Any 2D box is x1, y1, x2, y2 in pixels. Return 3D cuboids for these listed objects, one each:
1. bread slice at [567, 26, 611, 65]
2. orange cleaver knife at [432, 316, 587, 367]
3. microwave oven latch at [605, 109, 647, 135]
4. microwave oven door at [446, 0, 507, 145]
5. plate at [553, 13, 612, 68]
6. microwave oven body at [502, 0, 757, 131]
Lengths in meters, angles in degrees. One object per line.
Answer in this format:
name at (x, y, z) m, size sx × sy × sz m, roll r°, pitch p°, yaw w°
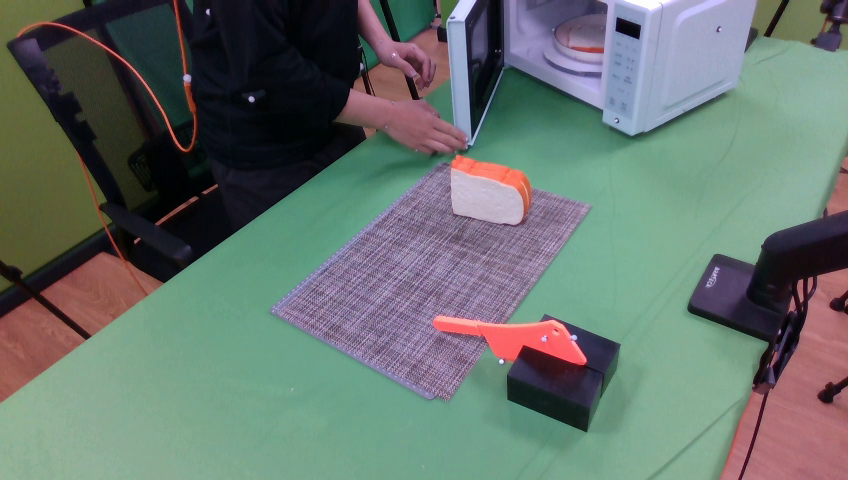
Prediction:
bread slice at (0.363, -0.427, 1.327) m, size 0.107 × 0.018 × 0.133 m, roll 1°, pitch 50°, yaw 4°
orange cleaver knife at (0.101, 0.127, 0.761) m, size 0.210 × 0.077 × 0.012 m, roll -1°, pitch 34°, yaw 40°
microwave oven latch at (0.379, -0.225, 1.139) m, size 0.030 × 0.029 × 0.078 m, roll -26°, pitch 43°, yaw -19°
microwave oven door at (0.113, -0.389, 1.211) m, size 0.039 × 0.245 × 0.355 m, roll 6°, pitch 42°, yaw 16°
plate at (0.385, -0.428, 1.315) m, size 0.207 × 0.039 × 0.206 m, roll -2°, pitch 46°, yaw 3°
microwave oven body at (0.396, -0.448, 1.248) m, size 0.327 × 0.261 × 0.437 m, roll -27°, pitch 44°, yaw -21°
